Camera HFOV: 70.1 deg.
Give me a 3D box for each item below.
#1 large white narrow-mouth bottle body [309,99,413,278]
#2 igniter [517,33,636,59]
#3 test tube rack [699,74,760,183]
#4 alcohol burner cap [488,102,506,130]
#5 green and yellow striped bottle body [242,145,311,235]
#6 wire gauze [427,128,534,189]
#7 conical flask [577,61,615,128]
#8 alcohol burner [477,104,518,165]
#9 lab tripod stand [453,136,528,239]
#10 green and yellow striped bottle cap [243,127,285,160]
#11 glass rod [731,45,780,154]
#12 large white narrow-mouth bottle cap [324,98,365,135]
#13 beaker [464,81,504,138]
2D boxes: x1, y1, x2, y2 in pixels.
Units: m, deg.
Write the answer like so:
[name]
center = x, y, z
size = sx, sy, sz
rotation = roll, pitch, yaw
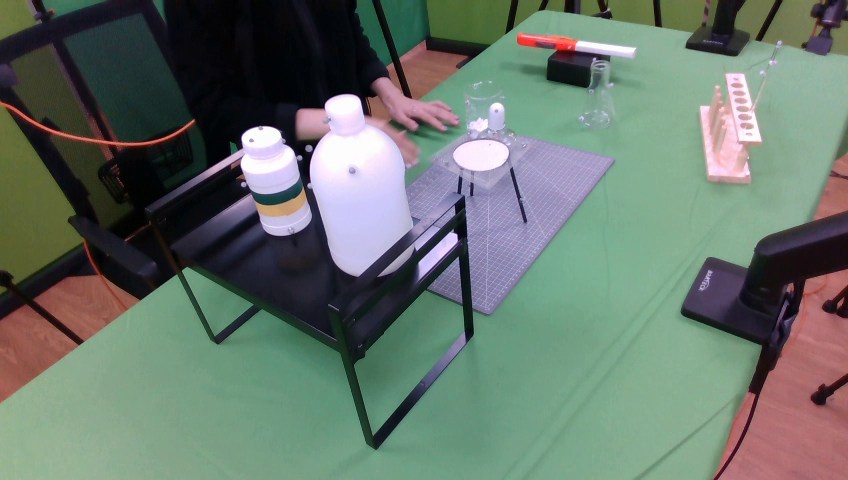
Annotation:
[large white narrow-mouth bottle body]
center = -0.068, -0.057, 0.644
size = 0.102, 0.195, 0.101
rotation = -3, 42, 4
[igniter]
center = 0.336, -0.441, 1.369
size = 0.275, 0.025, 0.057
rotation = 16, 41, 23
[test tube rack]
center = 0.547, -0.208, 1.095
size = 0.066, 0.085, 0.242
rotation = 6, 42, 16
[alcohol burner cap]
center = 0.133, -0.227, 1.092
size = 0.034, 0.048, 0.033
rotation = -1, 47, 2
[green and yellow striped bottle body]
center = -0.179, -0.069, 0.730
size = 0.063, 0.120, 0.063
rotation = -4, 41, 4
[wire gauze]
center = 0.086, -0.131, 0.924
size = 0.124, 0.011, 0.122
rotation = 26, 52, 33
[conical flask]
center = 0.343, -0.288, 1.188
size = 0.075, 0.122, 0.075
rotation = -4, 41, 4
[alcohol burner]
center = 0.135, -0.200, 1.117
size = 0.078, 0.119, 0.077
rotation = -4, 43, 4
[lab tripod stand]
center = 0.095, -0.086, 0.974
size = 0.148, 0.132, 0.147
rotation = -4, 43, 4
[green and yellow striped bottle cap]
center = -0.183, -0.111, 0.694
size = 0.045, 0.020, 0.045
rotation = -1, 42, 1
[glass rod]
center = 0.556, -0.232, 1.018
size = 0.008, 0.200, 0.008
rotation = 2, 41, -1
[large white narrow-mouth bottle cap]
center = -0.076, -0.120, 0.585
size = 0.038, 0.024, 0.037
rotation = -3, 42, 3
[beaker]
center = 0.118, -0.254, 1.193
size = 0.074, 0.101, 0.083
rotation = -19, 41, -14
